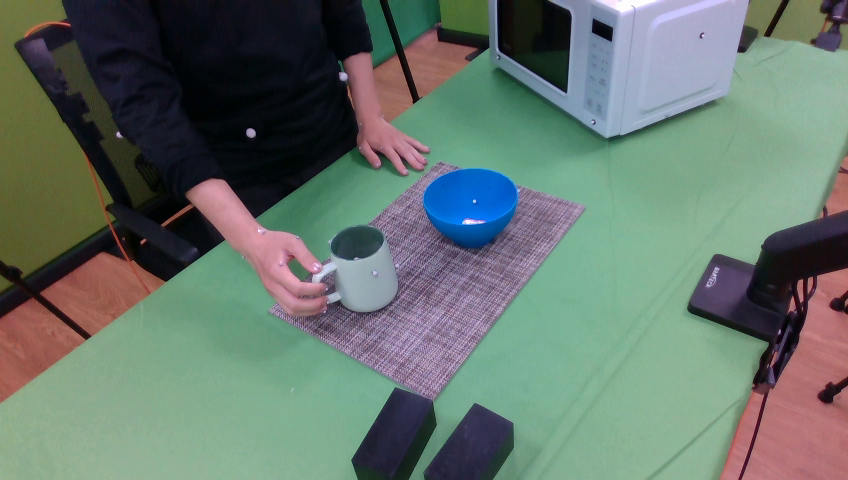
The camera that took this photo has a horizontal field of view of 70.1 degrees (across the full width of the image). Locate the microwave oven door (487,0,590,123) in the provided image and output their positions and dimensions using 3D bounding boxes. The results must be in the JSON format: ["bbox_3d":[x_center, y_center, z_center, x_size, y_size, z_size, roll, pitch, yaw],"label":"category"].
[{"bbox_3d":[0.232,-0.420,1.230,0.039,0.245,0.352,-22,43,-16],"label":"microwave oven door"}]

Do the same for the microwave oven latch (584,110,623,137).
[{"bbox_3d":[0.337,-0.222,1.142,0.030,0.029,0.078,-21,42,-15],"label":"microwave oven latch"}]

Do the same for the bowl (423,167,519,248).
[{"bbox_3d":[0.075,-0.041,0.959,0.151,0.077,0.150,-4,40,4],"label":"bowl"}]

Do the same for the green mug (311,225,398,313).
[{"bbox_3d":[-0.101,0.050,0.857,0.126,0.105,0.091,-28,45,-23],"label":"green mug"}]

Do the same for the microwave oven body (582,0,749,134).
[{"bbox_3d":[0.382,-0.444,1.246,0.327,0.261,0.437,-22,42,-16],"label":"microwave oven body"}]
